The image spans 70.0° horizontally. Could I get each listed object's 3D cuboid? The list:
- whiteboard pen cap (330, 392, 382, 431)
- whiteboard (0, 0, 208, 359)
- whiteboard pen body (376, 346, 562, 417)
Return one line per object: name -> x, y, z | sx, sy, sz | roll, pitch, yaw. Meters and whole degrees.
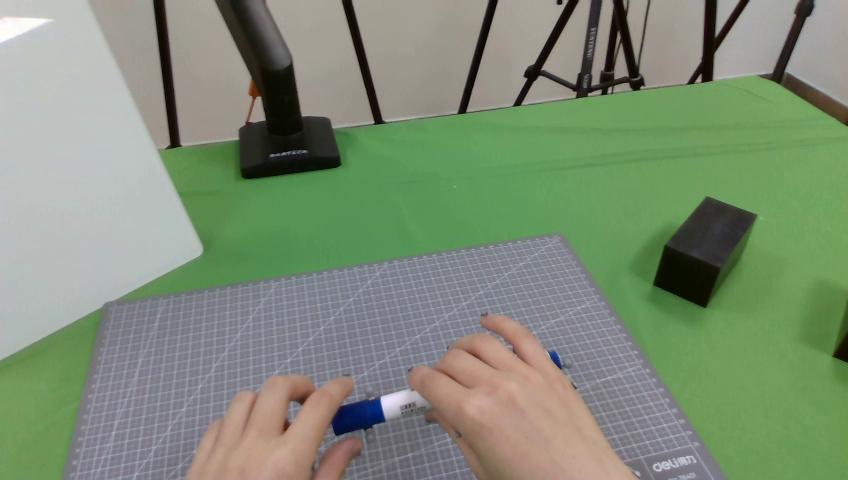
whiteboard pen cap -> -0.040, 0.104, 0.369 | 0.033, 0.018, 0.018 | -13, 40, -5
whiteboard -> -0.377, -0.084, 0.542 | 0.217, 0.308, 0.142 | -33, 30, -33
whiteboard pen body -> 0.017, 0.090, 0.373 | 0.141, 0.017, 0.017 | -15, 40, -6
